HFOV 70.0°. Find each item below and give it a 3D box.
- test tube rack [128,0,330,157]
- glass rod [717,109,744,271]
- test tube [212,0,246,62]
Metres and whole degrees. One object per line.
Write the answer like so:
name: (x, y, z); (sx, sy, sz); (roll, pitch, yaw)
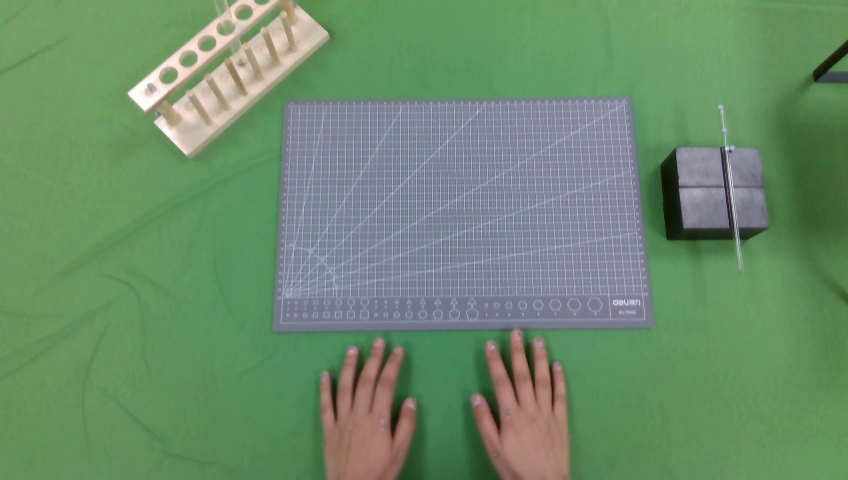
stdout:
test tube rack: (-0.234, -0.221, 0.754); (0.066, 0.085, 0.242); (44, 79, 11)
glass rod: (0.356, -0.062, 0.705); (0.008, 0.008, 0.198); (0, 75, 0)
test tube: (-0.232, -0.259, 0.713); (0.017, 0.151, 0.017); (1, 71, -3)
